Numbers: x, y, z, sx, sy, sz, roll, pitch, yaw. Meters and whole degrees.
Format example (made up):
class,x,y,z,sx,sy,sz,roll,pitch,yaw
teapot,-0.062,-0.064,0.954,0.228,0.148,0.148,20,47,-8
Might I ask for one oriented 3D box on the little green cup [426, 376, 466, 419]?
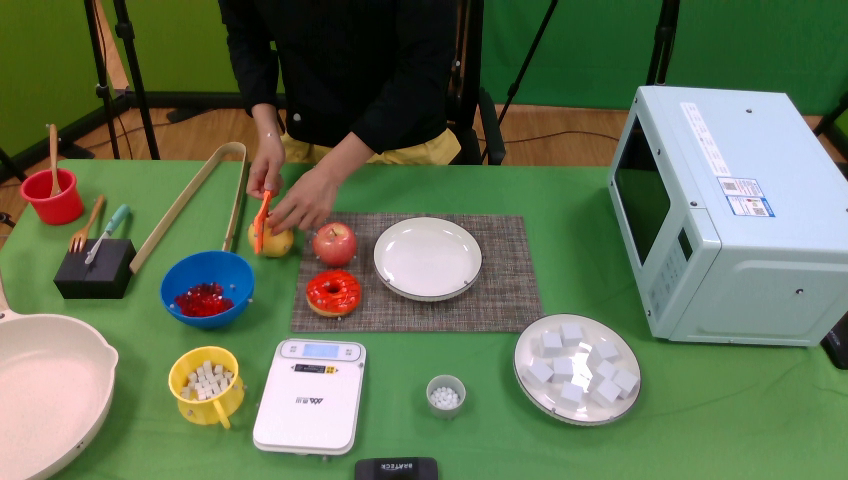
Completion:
class,x,y,z,sx,sy,sz,roll,pitch,yaw
little green cup,0.033,0.248,0.950,0.061,0.039,0.061,2,46,-2

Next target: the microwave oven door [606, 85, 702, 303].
class,x,y,z,sx,sy,sz,roll,pitch,yaw
microwave oven door,0.422,-0.094,1.140,0.039,0.245,0.353,2,46,-1

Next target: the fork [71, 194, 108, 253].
class,x,y,z,sx,sy,sz,roll,pitch,yaw
fork,-0.634,-0.036,1.158,0.028,0.019,0.206,-8,31,-8

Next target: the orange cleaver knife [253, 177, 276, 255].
class,x,y,z,sx,sy,sz,roll,pitch,yaw
orange cleaver knife,-0.300,-0.050,1.144,0.012,0.077,0.210,5,32,-7

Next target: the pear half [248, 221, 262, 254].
class,x,y,z,sx,sy,sz,roll,pitch,yaw
pear half,-0.315,-0.009,1.140,0.031,0.088,0.070,-9,51,-4

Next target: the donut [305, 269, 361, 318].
class,x,y,z,sx,sy,sz,roll,pitch,yaw
donut,-0.160,0.094,1.075,0.099,0.048,0.098,3,46,-3

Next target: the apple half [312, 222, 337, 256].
class,x,y,z,sx,sy,sz,roll,pitch,yaw
apple half,-0.190,-0.001,1.144,0.032,0.081,0.081,28,51,17

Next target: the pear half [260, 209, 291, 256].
class,x,y,z,sx,sy,sz,roll,pitch,yaw
pear half,-0.275,-0.019,1.129,0.056,0.110,0.076,-3,54,-25

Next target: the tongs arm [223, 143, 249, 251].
class,x,y,z,sx,sy,sz,roll,pitch,yaw
tongs arm,-0.397,-0.073,1.232,0.051,0.026,0.382,-2,45,0

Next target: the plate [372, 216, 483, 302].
class,x,y,z,sx,sy,sz,roll,pitch,yaw
plate,0.006,0.038,1.145,0.209,0.038,0.208,2,46,-2

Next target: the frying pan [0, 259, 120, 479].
class,x,y,z,sx,sy,sz,roll,pitch,yaw
frying pan,-0.647,0.164,0.936,0.307,0.103,0.485,-19,58,-22

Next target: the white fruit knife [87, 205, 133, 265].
class,x,y,z,sx,sy,sz,roll,pitch,yaw
white fruit knife,-0.584,-0.013,1.129,0.016,0.027,0.206,-1,32,-4

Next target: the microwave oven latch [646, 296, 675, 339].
class,x,y,z,sx,sy,sz,roll,pitch,yaw
microwave oven latch,0.412,0.134,1.061,0.030,0.029,0.078,4,45,1

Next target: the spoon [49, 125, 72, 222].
class,x,y,z,sx,sy,sz,roll,pitch,yaw
spoon,-0.718,-0.131,1.189,0.041,0.021,0.193,-4,90,-7

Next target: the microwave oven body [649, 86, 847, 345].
class,x,y,z,sx,sy,sz,roll,pitch,yaw
microwave oven body,0.567,-0.053,1.118,0.326,0.261,0.439,2,45,-1

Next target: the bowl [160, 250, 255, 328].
class,x,y,z,sx,sy,sz,roll,pitch,yaw
bowl,-0.362,0.098,1.040,0.151,0.077,0.150,2,45,-2

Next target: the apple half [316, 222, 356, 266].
class,x,y,z,sx,sy,sz,roll,pitch,yaw
apple half,-0.156,0.015,1.132,0.053,0.075,0.080,28,48,18

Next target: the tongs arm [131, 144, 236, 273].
class,x,y,z,sx,sy,sz,roll,pitch,yaw
tongs arm,-0.483,-0.078,1.234,0.028,0.028,0.385,6,45,12

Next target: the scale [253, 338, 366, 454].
class,x,y,z,sx,sy,sz,roll,pitch,yaw
scale,-0.175,0.236,0.951,0.149,0.032,0.199,4,45,0

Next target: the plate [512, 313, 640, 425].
class,x,y,z,sx,sy,sz,roll,pitch,yaw
plate,0.246,0.213,0.999,0.208,0.039,0.206,2,46,-2

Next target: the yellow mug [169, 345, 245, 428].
class,x,y,z,sx,sy,sz,roll,pitch,yaw
yellow mug,-0.322,0.230,0.922,0.100,0.064,0.130,-24,53,-25
